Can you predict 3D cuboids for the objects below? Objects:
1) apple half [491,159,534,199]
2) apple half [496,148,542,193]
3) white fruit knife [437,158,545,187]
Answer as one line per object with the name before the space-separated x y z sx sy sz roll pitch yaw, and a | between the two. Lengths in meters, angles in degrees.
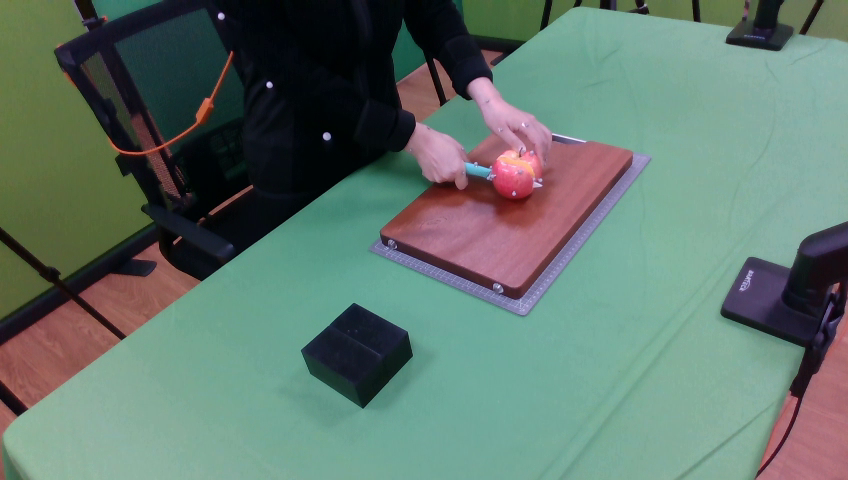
apple half | 0.139 -0.091 0.985 0.080 0.082 0.033 18 53 29
apple half | 0.163 -0.117 1.009 0.080 0.075 0.053 17 40 31
white fruit knife | 0.109 -0.112 1.018 0.206 0.027 0.016 15 57 30
